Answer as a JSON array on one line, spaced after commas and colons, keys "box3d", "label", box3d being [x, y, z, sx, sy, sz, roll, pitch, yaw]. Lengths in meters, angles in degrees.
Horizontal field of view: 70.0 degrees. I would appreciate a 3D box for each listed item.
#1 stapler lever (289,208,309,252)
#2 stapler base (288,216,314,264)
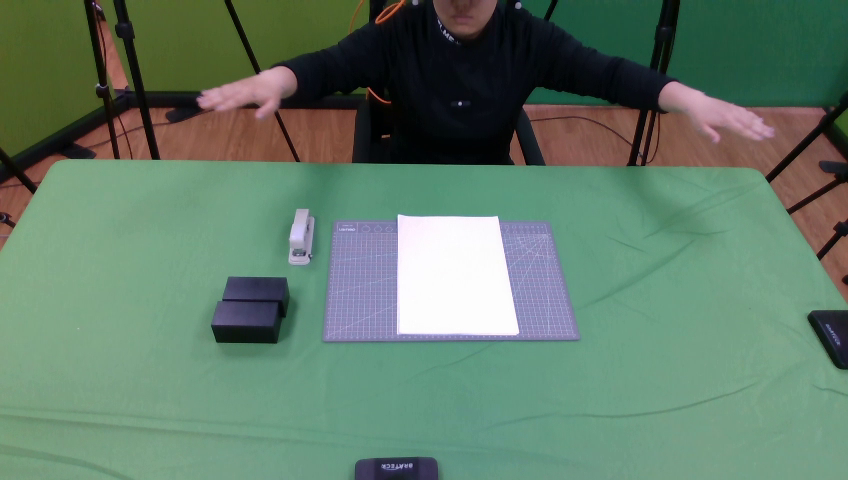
[{"box3d": [-0.240, -0.026, 1.168, 0.027, 0.040, 0.117, 1, 44, -5], "label": "stapler lever"}, {"box3d": [-0.240, -0.007, 1.185, 0.041, 0.024, 0.129, 1, 44, -5], "label": "stapler base"}]
